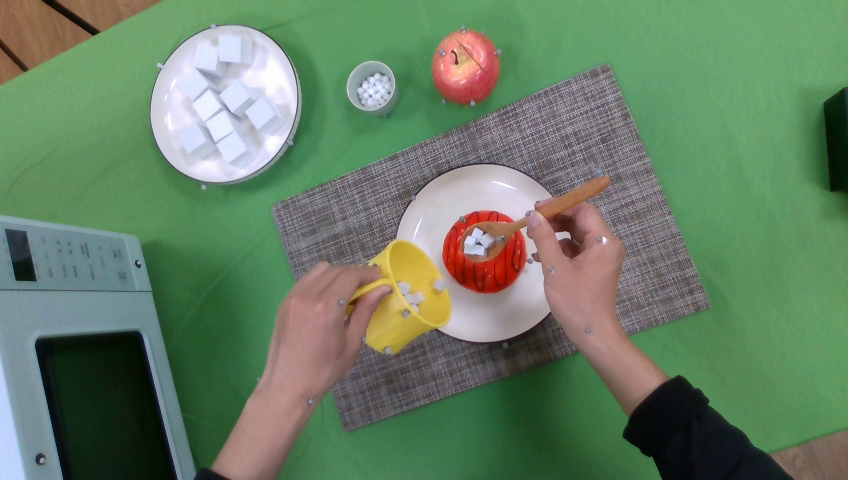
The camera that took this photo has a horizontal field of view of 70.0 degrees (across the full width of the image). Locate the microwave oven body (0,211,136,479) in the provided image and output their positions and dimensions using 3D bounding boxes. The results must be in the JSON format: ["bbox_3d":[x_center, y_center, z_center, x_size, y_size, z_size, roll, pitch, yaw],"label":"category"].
[{"bbox_3d":[-0.489,0.231,0.691,0.326,0.261,0.440,-18,83,9],"label":"microwave oven body"}]

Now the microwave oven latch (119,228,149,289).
[{"bbox_3d":[-0.381,0.025,0.781,0.030,0.029,0.079,-16,84,10],"label":"microwave oven latch"}]

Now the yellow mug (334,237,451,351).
[{"bbox_3d":[-0.036,0.054,0.599,0.064,0.132,0.099,-32,71,26],"label":"yellow mug"}]

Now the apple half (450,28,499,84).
[{"bbox_3d":[0.066,-0.219,0.705,0.033,0.081,0.081,-42,78,10],"label":"apple half"}]

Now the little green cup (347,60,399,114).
[{"bbox_3d":[-0.061,-0.186,0.748,0.061,0.039,0.061,-1,85,12],"label":"little green cup"}]

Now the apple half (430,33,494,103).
[{"bbox_3d":[0.038,-0.193,0.711,0.053,0.075,0.080,-42,82,10],"label":"apple half"}]

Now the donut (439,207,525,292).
[{"bbox_3d":[0.067,0.011,0.692,0.099,0.048,0.099,0,88,12],"label":"donut"}]

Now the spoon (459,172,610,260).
[{"bbox_3d":[0.096,-0.020,0.568,0.021,0.193,0.041,-30,91,-36],"label":"spoon"}]

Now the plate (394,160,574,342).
[{"bbox_3d":[0.067,0.013,0.704,0.209,0.038,0.208,-1,86,12],"label":"plate"}]

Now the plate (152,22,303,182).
[{"bbox_3d":[-0.251,-0.176,0.787,0.207,0.039,0.207,-1,86,12],"label":"plate"}]

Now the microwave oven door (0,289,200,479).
[{"bbox_3d":[-0.342,0.226,0.655,0.039,0.245,0.354,-19,82,10],"label":"microwave oven door"}]
